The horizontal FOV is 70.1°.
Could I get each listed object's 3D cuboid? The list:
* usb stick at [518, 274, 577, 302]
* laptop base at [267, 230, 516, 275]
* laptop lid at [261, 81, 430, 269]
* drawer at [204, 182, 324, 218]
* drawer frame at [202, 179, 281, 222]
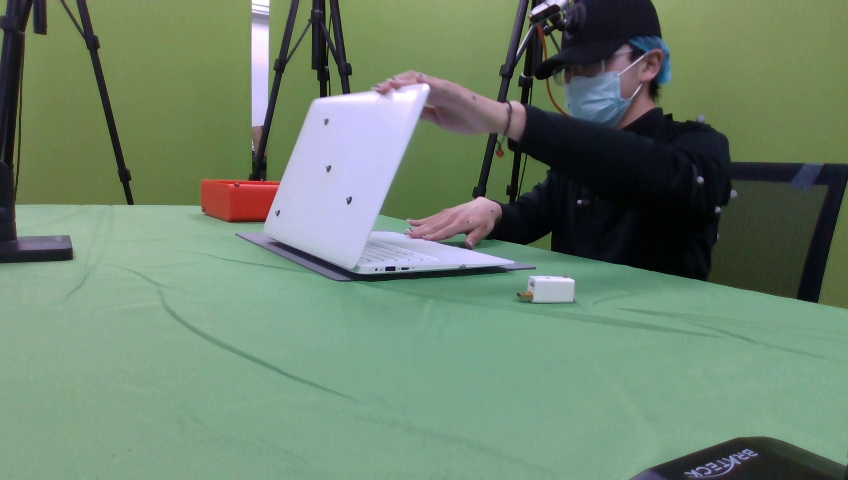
[{"bbox_3d":[0.127,0.050,0.625,0.059,0.027,0.021,-2,9,-13],"label":"usb stick"},{"bbox_3d":[-0.065,0.014,0.877,0.237,0.023,0.352,2,7,-32],"label":"laptop base"},{"bbox_3d":[-0.126,-0.097,0.822,0.013,0.241,0.355,25,-4,-32],"label":"laptop lid"},{"bbox_3d":[-0.360,-0.092,1.358,0.213,0.073,0.193,-3,10,-36],"label":"drawer"},{"bbox_3d":[-0.361,-0.092,1.356,0.215,0.082,0.200,-4,10,-37],"label":"drawer frame"}]
